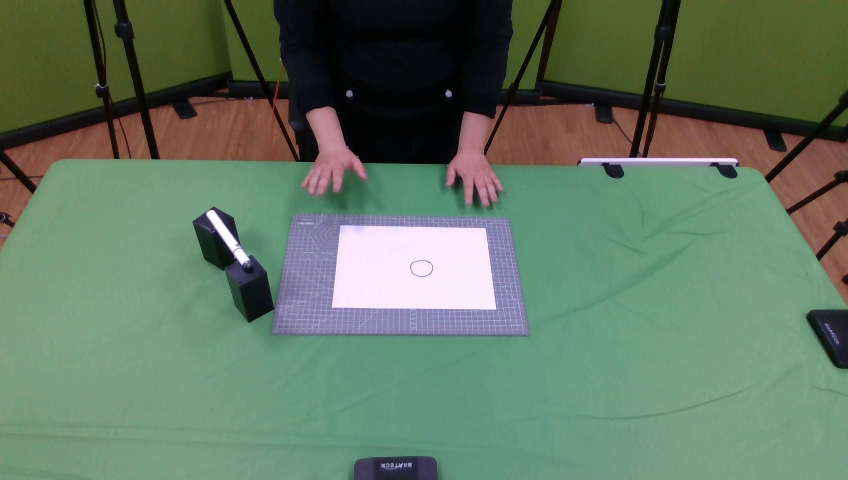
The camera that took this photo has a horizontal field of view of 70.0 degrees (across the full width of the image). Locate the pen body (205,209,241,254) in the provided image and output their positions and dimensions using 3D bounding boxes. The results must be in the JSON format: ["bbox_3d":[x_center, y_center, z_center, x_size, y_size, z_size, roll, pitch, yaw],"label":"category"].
[{"bbox_3d":[-0.340,-0.006,1.042,0.017,0.017,0.143,-27,53,-27],"label":"pen body"}]

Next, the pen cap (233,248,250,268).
[{"bbox_3d":[-0.303,0.031,1.008,0.017,0.017,0.038,-28,56,-28],"label":"pen cap"}]
